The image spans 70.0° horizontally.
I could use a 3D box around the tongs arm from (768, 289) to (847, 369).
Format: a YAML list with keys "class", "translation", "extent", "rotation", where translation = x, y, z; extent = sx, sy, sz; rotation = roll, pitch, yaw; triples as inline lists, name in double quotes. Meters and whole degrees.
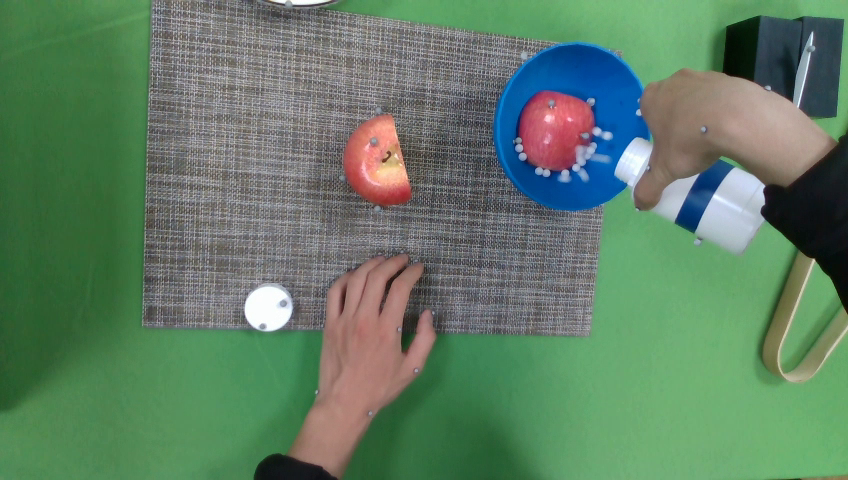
- class: "tongs arm"
  translation: [0.536, -0.004, 0.711]
  extent: [0.051, 0.026, 0.384]
  rotation: [33, 91, -13]

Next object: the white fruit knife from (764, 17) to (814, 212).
- class: "white fruit knife"
  translation: [0.380, -0.122, 0.632]
  extent: [0.016, 0.027, 0.209]
  rotation: [0, 115, 5]

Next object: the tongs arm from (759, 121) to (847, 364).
- class: "tongs arm"
  translation: [0.465, -0.043, 0.695]
  extent: [0.028, 0.027, 0.387]
  rotation: [19, 94, -15]

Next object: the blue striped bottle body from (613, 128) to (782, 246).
- class: "blue striped bottle body"
  translation: [0.220, -0.050, 0.502]
  extent: [0.120, 0.063, 0.063]
  rotation: [33, 90, 21]

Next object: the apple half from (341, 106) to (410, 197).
- class: "apple half"
  translation: [-0.048, -0.076, 0.549]
  extent: [0.053, 0.074, 0.081]
  rotation: [-15, 104, -6]

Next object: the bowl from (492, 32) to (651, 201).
- class: "bowl"
  translation: [0.128, -0.114, 0.579]
  extent: [0.152, 0.076, 0.151]
  rotation: [-2, 98, -11]

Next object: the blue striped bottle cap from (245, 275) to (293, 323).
- class: "blue striped bottle cap"
  translation: [-0.147, 0.056, 0.576]
  extent: [0.045, 0.020, 0.044]
  rotation: [-2, 98, -14]

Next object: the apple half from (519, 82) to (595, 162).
- class: "apple half"
  translation: [0.131, -0.112, 0.575]
  extent: [0.081, 0.032, 0.081]
  rotation: [-1, 96, -11]
